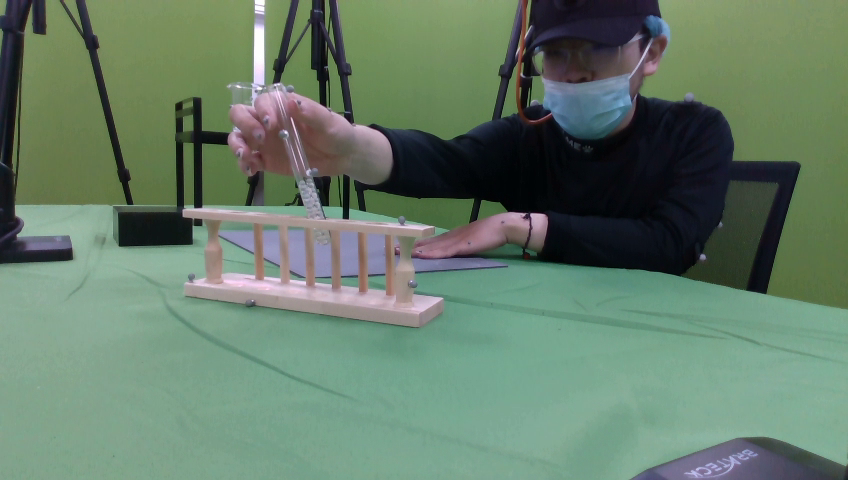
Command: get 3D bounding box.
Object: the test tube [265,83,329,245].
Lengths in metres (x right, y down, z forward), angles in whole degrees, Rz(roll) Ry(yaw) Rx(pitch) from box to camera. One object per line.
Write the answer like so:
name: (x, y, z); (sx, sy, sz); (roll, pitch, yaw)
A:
test tube: (-0.113, -0.067, 0.541); (0.017, 0.150, 0.017); (-17, 2, 1)

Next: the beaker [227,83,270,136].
beaker: (-0.354, -0.262, 1.224); (0.084, 0.100, 0.073); (-2, 8, -28)

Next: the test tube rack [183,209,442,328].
test tube rack: (-0.106, 0.019, 0.569); (0.241, 0.085, 0.067); (5, 8, 20)
